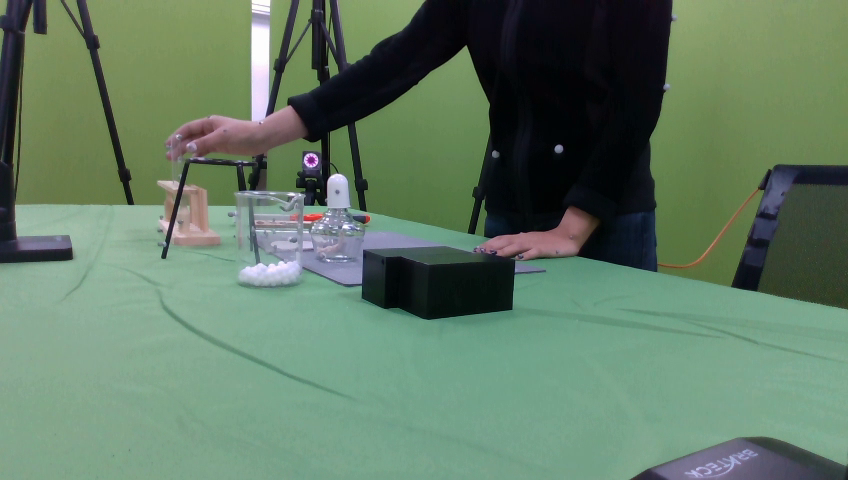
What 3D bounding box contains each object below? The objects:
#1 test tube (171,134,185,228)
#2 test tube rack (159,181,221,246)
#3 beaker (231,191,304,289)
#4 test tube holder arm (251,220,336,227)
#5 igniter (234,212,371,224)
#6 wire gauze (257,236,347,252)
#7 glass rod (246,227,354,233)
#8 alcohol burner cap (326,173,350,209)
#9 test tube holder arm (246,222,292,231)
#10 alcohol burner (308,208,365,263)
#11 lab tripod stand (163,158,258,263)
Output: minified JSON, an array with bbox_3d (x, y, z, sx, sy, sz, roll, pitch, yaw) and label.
[{"bbox_3d":[-0.390,-0.092,0.963,0.017,0.150,0.017,-1,4,0],"label":"test tube"},{"bbox_3d":[-0.395,-0.049,1.010,0.067,0.085,0.241,-2,8,-28],"label":"test tube rack"},{"bbox_3d":[-0.167,-0.001,0.653,0.074,0.100,0.083,-4,10,-40],"label":"beaker"},{"bbox_3d":[-0.254,-0.031,1.156,0.179,0.015,0.013,-2,45,-31],"label":"test tube holder arm"},{"bbox_3d":[-0.245,-0.045,1.247,0.278,0.025,0.057,-1,-2,-25],"label":"igniter"},{"bbox_3d":[-0.190,0.006,0.931,0.122,0.011,0.124,0,7,-21],"label":"wire gauze"},{"bbox_3d":[-0.224,-0.017,1.109,0.201,0.008,0.008,1,7,-27],"label":"glass rod"},{"bbox_3d":[-0.116,-0.065,0.808,0.034,0.048,0.034,-4,10,1],"label":"alcohol burner cap"},{"bbox_3d":[-0.291,-0.026,1.130,0.088,0.015,0.010,-1,45,-30],"label":"test tube holder arm"},{"bbox_3d":[-0.117,-0.030,0.813,0.078,0.119,0.078,4,9,0],"label":"alcohol burner"},{"bbox_3d":[-0.265,-0.041,0.802,0.148,0.131,0.148,4,7,0],"label":"lab tripod stand"}]
